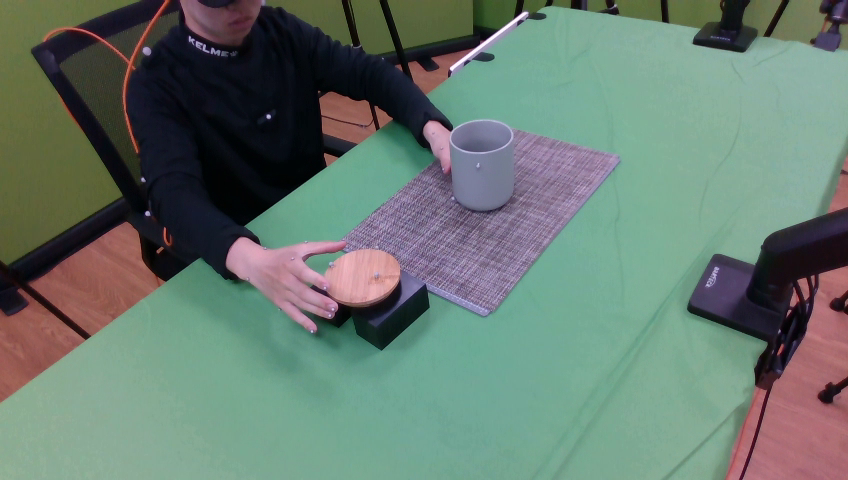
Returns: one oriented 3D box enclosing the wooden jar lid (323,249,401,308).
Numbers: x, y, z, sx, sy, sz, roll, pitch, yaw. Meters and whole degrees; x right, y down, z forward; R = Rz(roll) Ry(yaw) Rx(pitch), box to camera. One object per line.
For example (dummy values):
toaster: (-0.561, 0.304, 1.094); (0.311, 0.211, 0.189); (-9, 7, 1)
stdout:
wooden jar lid: (-0.086, 0.055, 0.841); (0.108, 0.021, 0.108); (-4, 40, 4)

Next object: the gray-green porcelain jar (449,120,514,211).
gray-green porcelain jar: (0.097, -0.120, 1.009); (0.106, 0.127, 0.105); (-4, 41, 4)
